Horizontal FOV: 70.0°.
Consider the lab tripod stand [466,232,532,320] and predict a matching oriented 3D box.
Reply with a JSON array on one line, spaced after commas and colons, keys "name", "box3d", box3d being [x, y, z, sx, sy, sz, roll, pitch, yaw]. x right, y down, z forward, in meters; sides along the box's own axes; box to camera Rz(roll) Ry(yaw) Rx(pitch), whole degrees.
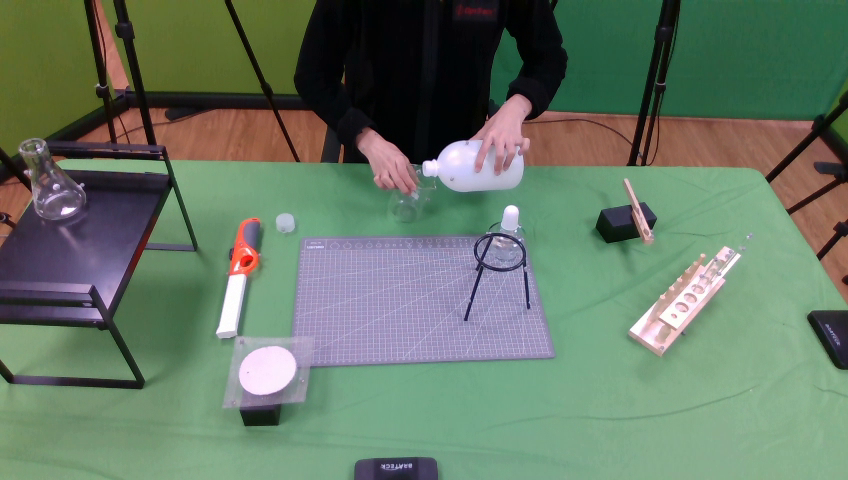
[{"name": "lab tripod stand", "box3d": [0.125, 0.059, 1.065, 0.148, 0.132, 0.147, 1, 45, 0]}]

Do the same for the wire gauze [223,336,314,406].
[{"name": "wire gauze", "box3d": [-0.237, 0.197, 0.931, 0.121, 0.011, 0.124, 1, 45, -4]}]

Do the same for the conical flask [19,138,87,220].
[{"name": "conical flask", "box3d": [-0.576, -0.097, 0.930, 0.075, 0.122, 0.075, 2, 46, -2]}]

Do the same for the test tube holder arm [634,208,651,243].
[{"name": "test tube holder arm", "box3d": [0.428, -0.030, 1.189, 0.010, 0.015, 0.087, 1, 47, -2]}]

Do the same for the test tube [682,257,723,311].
[{"name": "test tube", "box3d": [0.475, 0.080, 1.037, 0.017, 0.151, 0.017, 1, 51, -1]}]

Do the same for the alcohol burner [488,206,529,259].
[{"name": "alcohol burner", "box3d": [0.163, -0.020, 1.158, 0.078, 0.120, 0.077, 0, 47, 0]}]

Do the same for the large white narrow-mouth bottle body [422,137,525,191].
[{"name": "large white narrow-mouth bottle body", "box3d": [0.093, -0.148, 1.196, 0.195, 0.102, 0.101, -5, 47, -15]}]

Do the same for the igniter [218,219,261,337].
[{"name": "igniter", "box3d": [-0.336, 0.060, 1.111, 0.057, 0.025, 0.274, -8, 46, 3]}]

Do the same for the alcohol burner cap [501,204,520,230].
[{"name": "alcohol burner cap", "box3d": [0.164, -0.046, 1.133, 0.034, 0.048, 0.033, 2, 40, -2]}]

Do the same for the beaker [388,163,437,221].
[{"name": "beaker", "box3d": [-0.026, -0.093, 1.223, 0.084, 0.100, 0.073, 27, 42, 2]}]

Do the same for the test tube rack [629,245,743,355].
[{"name": "test tube rack", "box3d": [0.474, 0.095, 1.091, 0.242, 0.085, 0.066, -34, 56, -31]}]

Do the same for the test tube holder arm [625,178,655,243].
[{"name": "test tube holder arm", "box3d": [0.433, -0.062, 1.220, 0.013, 0.015, 0.177, 1, 47, -3]}]

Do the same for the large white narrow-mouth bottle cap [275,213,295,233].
[{"name": "large white narrow-mouth bottle cap", "box3d": [-0.278, -0.034, 1.213, 0.038, 0.024, 0.037, 3, 46, -3]}]

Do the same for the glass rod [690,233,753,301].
[{"name": "glass rod", "box3d": [0.507, 0.053, 1.041, 0.008, 0.200, 0.008, 5, 51, -6]}]
